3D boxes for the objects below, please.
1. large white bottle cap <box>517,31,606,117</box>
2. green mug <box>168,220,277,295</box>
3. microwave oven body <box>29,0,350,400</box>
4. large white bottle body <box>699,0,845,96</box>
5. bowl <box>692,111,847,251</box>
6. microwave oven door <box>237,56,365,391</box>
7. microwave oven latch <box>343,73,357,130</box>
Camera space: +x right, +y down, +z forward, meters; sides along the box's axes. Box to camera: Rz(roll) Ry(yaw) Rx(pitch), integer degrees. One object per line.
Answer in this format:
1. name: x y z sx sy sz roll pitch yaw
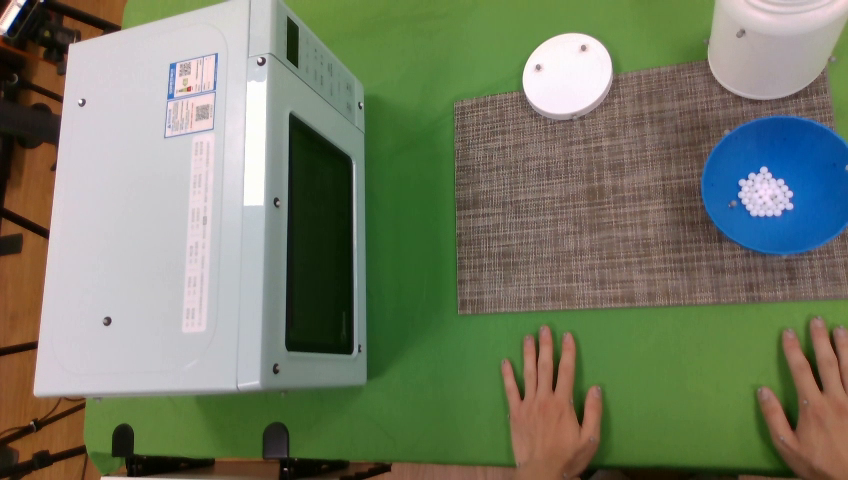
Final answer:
1. large white bottle cap: 0.179 -0.218 0.794 0.114 0.018 0.114 -4 77 18
2. green mug: -0.254 0.017 0.793 0.125 0.105 0.092 -19 77 8
3. microwave oven body: -0.278 -0.027 0.786 0.325 0.262 0.439 -6 78 18
4. large white bottle body: 0.369 -0.252 0.644 0.130 0.186 0.130 -5 73 18
5. bowl: 0.372 -0.055 0.661 0.151 0.077 0.150 -4 78 19
6. microwave oven door: -0.140 -0.003 0.728 0.039 0.245 0.354 -7 77 18
7. microwave oven latch: -0.112 -0.197 0.866 0.030 0.030 0.079 -6 78 18
